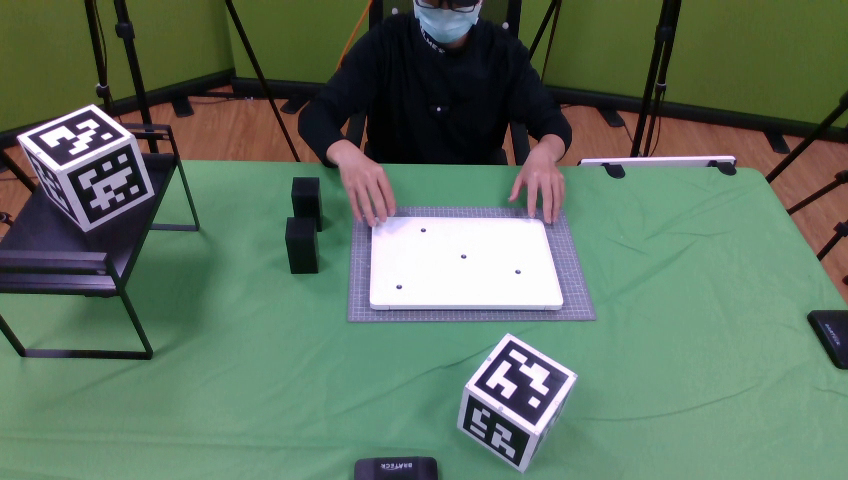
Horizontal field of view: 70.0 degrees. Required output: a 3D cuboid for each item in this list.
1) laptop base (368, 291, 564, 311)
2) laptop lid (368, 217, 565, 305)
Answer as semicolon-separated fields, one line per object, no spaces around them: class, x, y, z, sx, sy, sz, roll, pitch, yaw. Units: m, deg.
laptop base;0.074;0.044;1.160;0.354;0.023;0.234;0;43;-3
laptop lid;0.075;0.034;1.152;0.357;0.013;0.240;2;44;-2
